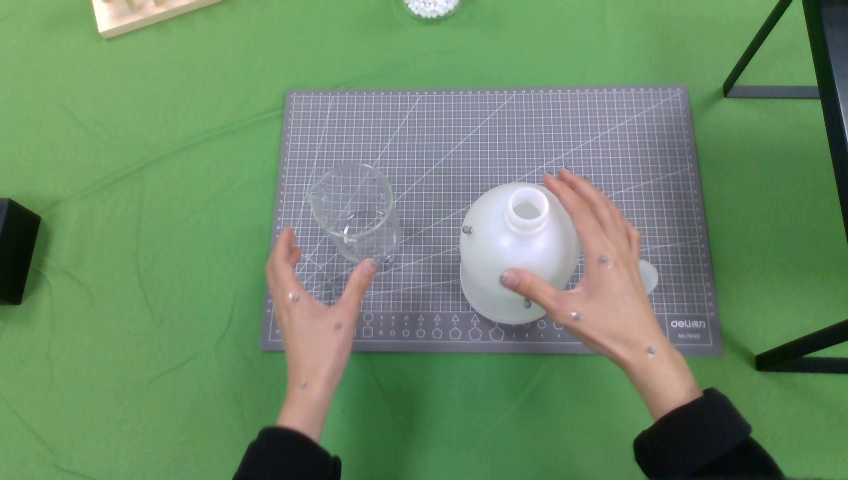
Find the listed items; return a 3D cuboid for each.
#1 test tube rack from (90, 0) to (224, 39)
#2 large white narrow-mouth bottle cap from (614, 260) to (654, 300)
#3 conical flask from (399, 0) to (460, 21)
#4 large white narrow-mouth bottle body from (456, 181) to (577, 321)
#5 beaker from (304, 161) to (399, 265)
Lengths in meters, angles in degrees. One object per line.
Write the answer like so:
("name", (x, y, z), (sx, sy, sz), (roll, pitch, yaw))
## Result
("test tube rack", (-0.290, -0.327, 0.715), (0.242, 0.086, 0.066), (-20, 71, -4))
("large white narrow-mouth bottle cap", (0.207, 0.040, 0.596), (0.037, 0.024, 0.037), (-1, 72, 4))
("conical flask", (0.003, -0.312, 0.676), (0.075, 0.122, 0.075), (-1, 70, 3))
("large white narrow-mouth bottle body", (0.079, 0.006, 0.523), (0.102, 0.196, 0.101), (-1, 71, 5))
("beaker", (-0.065, -0.021, 0.589), (0.084, 0.101, 0.073), (10, 71, 7))
